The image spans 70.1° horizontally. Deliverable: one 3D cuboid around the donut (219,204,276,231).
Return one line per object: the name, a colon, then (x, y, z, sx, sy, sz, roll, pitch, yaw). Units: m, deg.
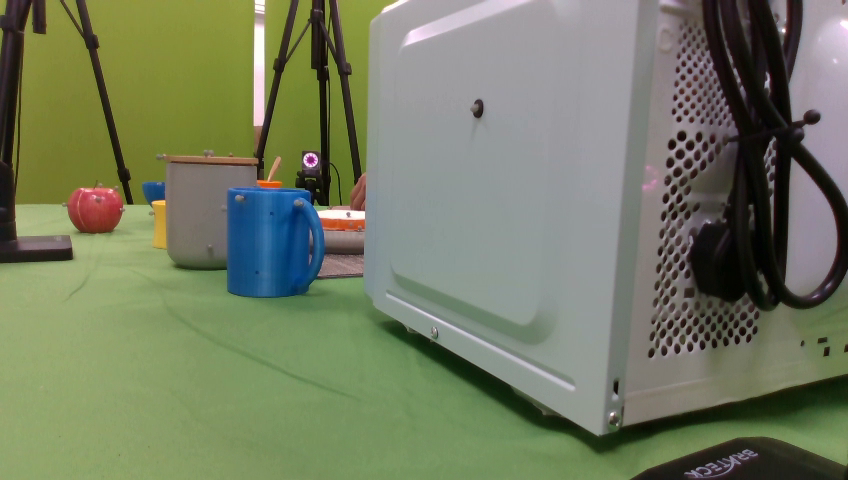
donut: (-0.316, -0.039, 1.083, 0.099, 0.048, 0.099, 2, 7, 0)

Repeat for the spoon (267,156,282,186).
spoon: (-0.391, -0.150, 1.547, 0.041, 0.193, 0.021, 3, -37, 7)

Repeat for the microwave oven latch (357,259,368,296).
microwave oven latch: (-0.019, 0.031, 0.528, 0.079, 0.029, 0.030, -1, 7, -25)

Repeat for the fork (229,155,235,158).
fork: (-0.459, -0.134, 1.415, 0.028, 0.018, 0.207, -1, -34, -24)

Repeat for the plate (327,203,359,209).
plate: (-0.102, -0.053, 1.299, 0.209, 0.038, 0.209, 2, 8, 0)

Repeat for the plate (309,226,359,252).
plate: (-0.130, -0.011, 0.945, 0.208, 0.039, 0.207, 2, 8, 0)

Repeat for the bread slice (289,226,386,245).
bread slice: (-0.125, -0.008, 0.938, 0.131, 0.019, 0.105, 5, 7, 31)

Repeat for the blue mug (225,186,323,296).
blue mug: (-0.148, 0.000, 0.618, 0.116, 0.106, 0.083, 7, 9, 33)

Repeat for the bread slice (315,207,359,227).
bread slice: (-0.127, -0.035, 0.933, 0.134, 0.018, 0.107, 4, 11, 27)

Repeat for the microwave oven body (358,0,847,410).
microwave oven body: (0.210, -0.051, 0.471, 0.444, 0.260, 0.324, -1, 7, -28)

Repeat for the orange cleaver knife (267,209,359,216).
orange cleaver knife: (-0.259, -0.064, 1.423, 0.212, 0.012, 0.077, -4, 3, -30)

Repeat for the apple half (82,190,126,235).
apple half: (-0.517, -0.046, 0.994, 0.032, 0.081, 0.081, 0, 6, 26)

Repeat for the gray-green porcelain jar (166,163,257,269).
gray-green porcelain jar: (-0.263, -0.031, 0.754, 0.106, 0.126, 0.106, 2, 7, 0)

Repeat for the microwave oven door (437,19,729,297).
microwave oven door: (0.180, -0.076, 0.618, 0.358, 0.243, 0.039, -2, 9, -28)

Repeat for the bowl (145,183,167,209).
bowl: (-0.459, -0.068, 1.175, 0.151, 0.077, 0.151, 3, 7, 0)

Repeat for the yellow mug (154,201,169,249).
yellow mug: (-0.338, -0.022, 0.899, 0.130, 0.064, 0.100, 8, 9, 34)

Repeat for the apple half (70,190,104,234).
apple half: (-0.552, -0.047, 1.009, 0.053, 0.074, 0.081, -1, 9, 26)

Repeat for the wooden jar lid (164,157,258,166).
wooden jar lid: (-0.261, -0.093, 0.746, 0.108, 0.020, 0.108, 0, 9, 0)
